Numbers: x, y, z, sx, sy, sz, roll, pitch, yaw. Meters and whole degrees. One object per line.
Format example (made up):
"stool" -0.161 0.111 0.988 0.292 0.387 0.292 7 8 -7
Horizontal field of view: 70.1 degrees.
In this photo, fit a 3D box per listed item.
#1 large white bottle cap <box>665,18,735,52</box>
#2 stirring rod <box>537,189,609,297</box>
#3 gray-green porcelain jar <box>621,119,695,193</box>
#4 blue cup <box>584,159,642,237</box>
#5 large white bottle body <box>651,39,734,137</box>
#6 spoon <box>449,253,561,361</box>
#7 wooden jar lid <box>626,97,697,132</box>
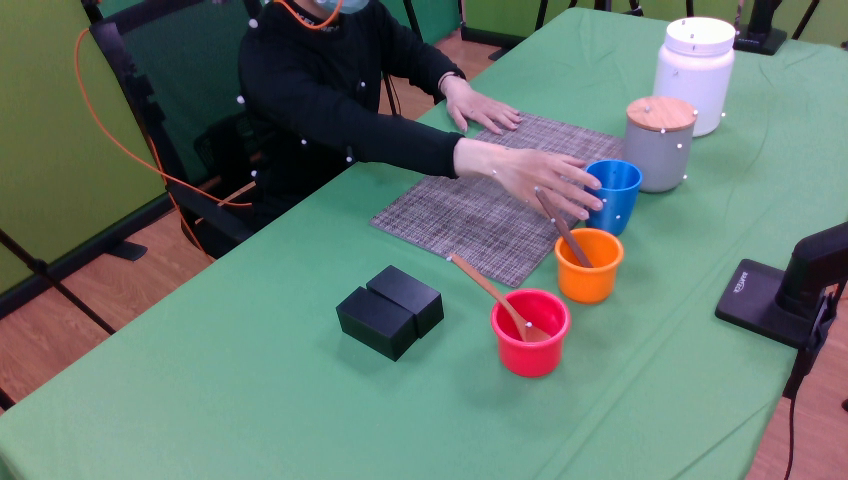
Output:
"large white bottle cap" 0.488 -0.364 1.071 0.115 0.018 0.114 -4 41 4
"stirring rod" 0.210 0.004 0.855 0.014 0.006 0.176 -32 89 -30
"gray-green porcelain jar" 0.389 -0.152 1.016 0.106 0.127 0.105 -4 40 4
"blue cup" 0.289 -0.060 0.944 0.092 0.100 0.092 -3 40 3
"large white bottle body" 0.496 -0.300 1.126 0.130 0.185 0.130 -4 41 4
"spoon" 0.103 0.083 0.769 0.194 0.021 0.042 47 51 -7
"wooden jar lid" 0.381 -0.198 0.976 0.108 0.021 0.108 -3 40 3
